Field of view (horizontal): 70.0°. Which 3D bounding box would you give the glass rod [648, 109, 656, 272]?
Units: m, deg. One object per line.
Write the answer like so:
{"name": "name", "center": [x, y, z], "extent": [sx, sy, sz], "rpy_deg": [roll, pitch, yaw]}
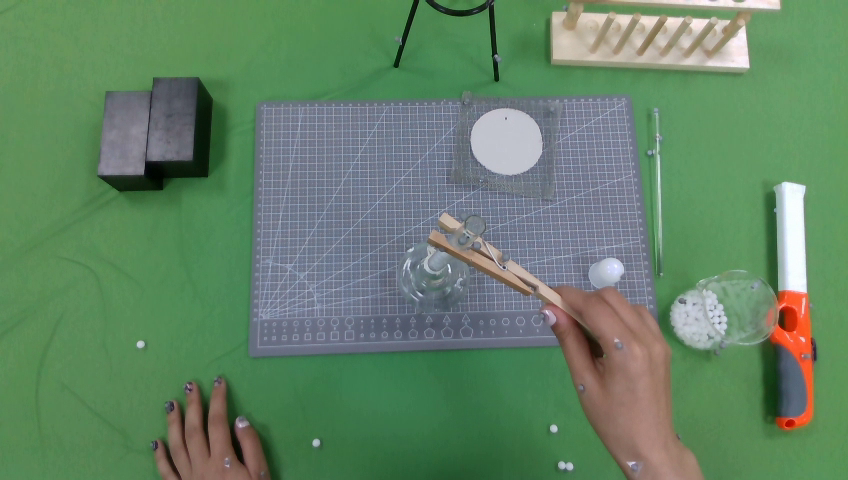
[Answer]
{"name": "glass rod", "center": [0.268, -0.060, 0.710], "extent": [0.008, 0.008, 0.199], "rpy_deg": [4, 79, -1]}

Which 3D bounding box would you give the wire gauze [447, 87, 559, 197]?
{"name": "wire gauze", "center": [0.095, -0.119, 0.716], "extent": [0.125, 0.011, 0.121], "rpy_deg": [9, 78, 0]}

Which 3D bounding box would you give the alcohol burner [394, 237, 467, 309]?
{"name": "alcohol burner", "center": [0.007, 0.030, 0.624], "extent": [0.078, 0.119, 0.077], "rpy_deg": [0, 75, 0]}

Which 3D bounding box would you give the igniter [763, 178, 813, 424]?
{"name": "igniter", "center": [0.405, 0.064, 0.676], "extent": [0.057, 0.025, 0.275], "rpy_deg": [9, 76, -10]}

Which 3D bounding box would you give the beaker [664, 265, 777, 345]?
{"name": "beaker", "center": [0.301, 0.071, 0.635], "extent": [0.084, 0.100, 0.074], "rpy_deg": [29, 77, 7]}

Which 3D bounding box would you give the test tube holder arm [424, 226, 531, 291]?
{"name": "test tube holder arm", "center": [0.041, 0.014, 0.450], "extent": [0.088, 0.015, 0.010], "rpy_deg": [27, 79, -2]}

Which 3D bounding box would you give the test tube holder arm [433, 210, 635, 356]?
{"name": "test tube holder arm", "center": [0.082, 0.033, 0.452], "extent": [0.178, 0.015, 0.013], "rpy_deg": [34, 79, -1]}

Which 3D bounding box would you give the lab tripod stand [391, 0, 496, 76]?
{"name": "lab tripod stand", "center": [0.029, -0.257, 0.685], "extent": [0.148, 0.132, 0.147], "rpy_deg": [0, 78, -1]}

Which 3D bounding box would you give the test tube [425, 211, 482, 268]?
{"name": "test tube", "center": [0.020, 0.003, 0.471], "extent": [0.017, 0.150, 0.017], "rpy_deg": [2, 78, -9]}

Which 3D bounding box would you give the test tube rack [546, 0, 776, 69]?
{"name": "test tube rack", "center": [0.275, -0.259, 0.718], "extent": [0.242, 0.085, 0.066], "rpy_deg": [2, 76, -1]}

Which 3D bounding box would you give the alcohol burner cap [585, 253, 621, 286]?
{"name": "alcohol burner cap", "center": [0.199, 0.030, 0.667], "extent": [0.034, 0.048, 0.033], "rpy_deg": [0, 76, -1]}
